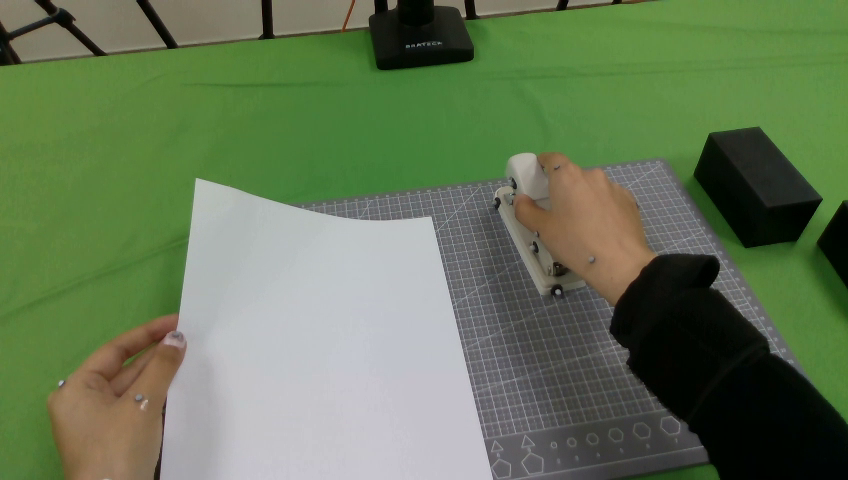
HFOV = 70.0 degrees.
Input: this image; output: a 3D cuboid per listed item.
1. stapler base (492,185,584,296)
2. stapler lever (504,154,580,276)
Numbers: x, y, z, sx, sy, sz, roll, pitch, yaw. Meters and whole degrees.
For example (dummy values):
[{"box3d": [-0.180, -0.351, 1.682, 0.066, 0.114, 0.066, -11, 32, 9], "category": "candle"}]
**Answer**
[{"box3d": [0.097, -0.010, 0.529, 0.041, 0.024, 0.129, -13, 50, -8], "category": "stapler base"}, {"box3d": [0.097, -0.025, 0.510, 0.027, 0.040, 0.116, -13, 50, -7], "category": "stapler lever"}]
